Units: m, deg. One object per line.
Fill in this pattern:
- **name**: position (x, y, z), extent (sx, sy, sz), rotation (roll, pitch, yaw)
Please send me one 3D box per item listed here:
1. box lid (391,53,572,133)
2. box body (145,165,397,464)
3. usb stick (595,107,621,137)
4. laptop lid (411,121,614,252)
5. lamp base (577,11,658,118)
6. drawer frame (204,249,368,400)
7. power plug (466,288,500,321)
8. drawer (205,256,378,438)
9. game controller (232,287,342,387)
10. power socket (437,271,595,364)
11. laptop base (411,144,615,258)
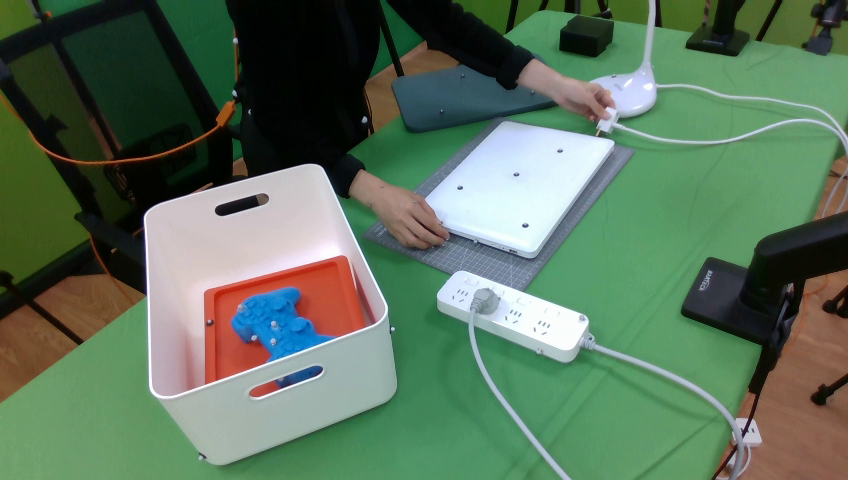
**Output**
- **box lid**: position (0.122, -0.339, 1.366), extent (0.372, 0.015, 0.261), rotation (-12, 40, -5)
- **box body**: position (-0.205, 0.080, 0.802), extent (0.255, 0.161, 0.361), rotation (-18, 41, -13)
- **usb stick**: position (0.352, -0.223, 1.166), extent (0.027, 0.059, 0.022), rotation (36, 18, 33)
- **laptop lid**: position (0.164, -0.112, 1.068), extent (0.240, 0.013, 0.357), rotation (19, 46, 30)
- **lamp base**: position (0.406, -0.363, 1.222), extent (0.180, 0.181, 0.159), rotation (-20, 42, -18)
- **drawer frame**: position (-0.174, 0.129, 0.790), extent (0.202, 0.083, 0.212), rotation (-16, 45, -8)
- **power plug**: position (0.072, 0.093, 0.813), extent (0.035, 0.053, 0.073), rotation (31, 55, 35)
- **drawer**: position (-0.177, 0.130, 0.787), extent (0.195, 0.073, 0.210), rotation (-14, 39, -9)
- **game controller**: position (-0.166, 0.110, 0.734), extent (0.097, 0.052, 0.154), rotation (-35, 47, -21)
- **power socket**: position (0.118, 0.102, 0.830), extent (0.225, 0.033, 0.072), rotation (20, 48, 28)
- **laptop base**: position (0.167, -0.102, 1.075), extent (0.234, 0.023, 0.355), rotation (16, 45, 30)
